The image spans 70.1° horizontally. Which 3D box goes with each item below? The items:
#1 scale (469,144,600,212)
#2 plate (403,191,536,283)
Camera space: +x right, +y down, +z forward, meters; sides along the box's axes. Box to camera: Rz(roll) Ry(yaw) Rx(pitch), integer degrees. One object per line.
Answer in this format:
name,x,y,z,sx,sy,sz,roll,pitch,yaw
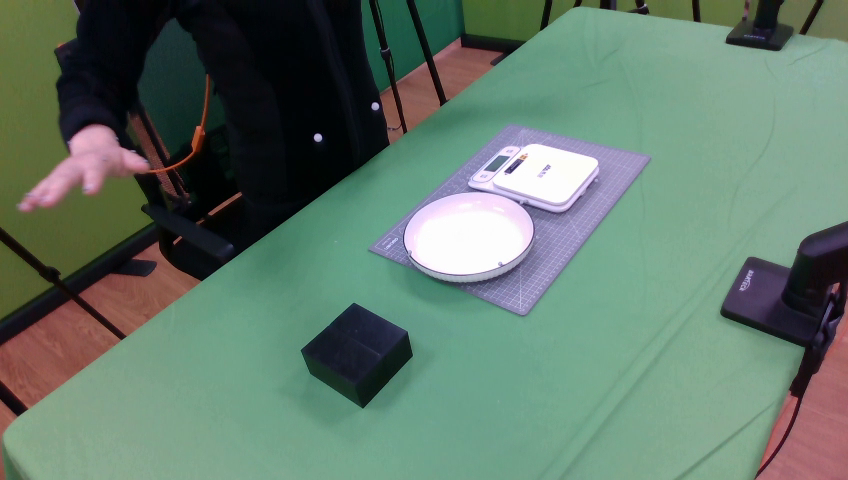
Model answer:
scale,0.194,-0.117,1.075,0.199,0.032,0.149,21,48,32
plate,0.071,-0.003,0.959,0.209,0.038,0.208,-5,40,5
